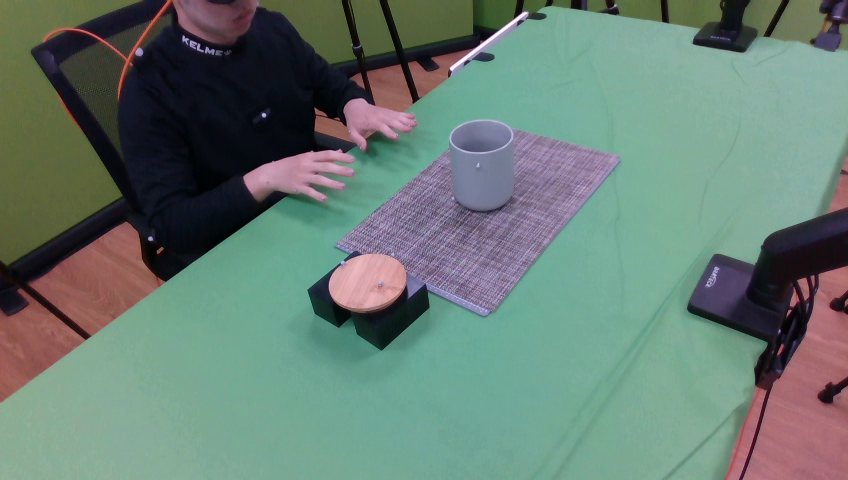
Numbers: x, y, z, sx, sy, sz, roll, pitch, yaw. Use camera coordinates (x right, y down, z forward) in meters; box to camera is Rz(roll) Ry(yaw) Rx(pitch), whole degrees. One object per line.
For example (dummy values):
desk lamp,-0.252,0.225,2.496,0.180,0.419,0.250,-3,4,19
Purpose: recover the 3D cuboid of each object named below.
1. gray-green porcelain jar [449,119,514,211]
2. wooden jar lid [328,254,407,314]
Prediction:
gray-green porcelain jar,0.098,-0.120,1.008,0.106,0.127,0.105,-4,41,4
wooden jar lid,-0.077,0.062,0.832,0.108,0.021,0.108,-4,39,4
